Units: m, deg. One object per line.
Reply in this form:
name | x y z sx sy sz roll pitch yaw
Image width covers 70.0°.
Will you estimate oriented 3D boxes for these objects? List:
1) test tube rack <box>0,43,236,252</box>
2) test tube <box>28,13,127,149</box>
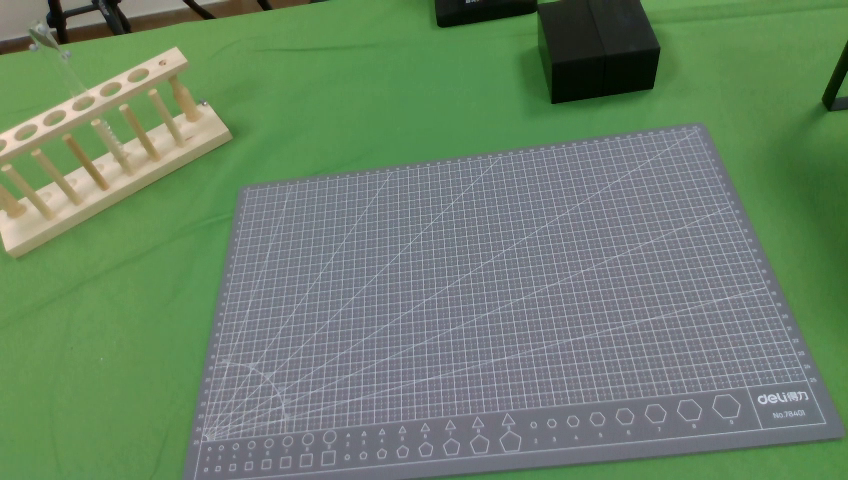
test tube rack | -0.326 -0.095 0.610 0.242 0.086 0.066 -33 55 -14
test tube | -0.329 -0.147 0.585 0.017 0.152 0.017 -5 49 6
